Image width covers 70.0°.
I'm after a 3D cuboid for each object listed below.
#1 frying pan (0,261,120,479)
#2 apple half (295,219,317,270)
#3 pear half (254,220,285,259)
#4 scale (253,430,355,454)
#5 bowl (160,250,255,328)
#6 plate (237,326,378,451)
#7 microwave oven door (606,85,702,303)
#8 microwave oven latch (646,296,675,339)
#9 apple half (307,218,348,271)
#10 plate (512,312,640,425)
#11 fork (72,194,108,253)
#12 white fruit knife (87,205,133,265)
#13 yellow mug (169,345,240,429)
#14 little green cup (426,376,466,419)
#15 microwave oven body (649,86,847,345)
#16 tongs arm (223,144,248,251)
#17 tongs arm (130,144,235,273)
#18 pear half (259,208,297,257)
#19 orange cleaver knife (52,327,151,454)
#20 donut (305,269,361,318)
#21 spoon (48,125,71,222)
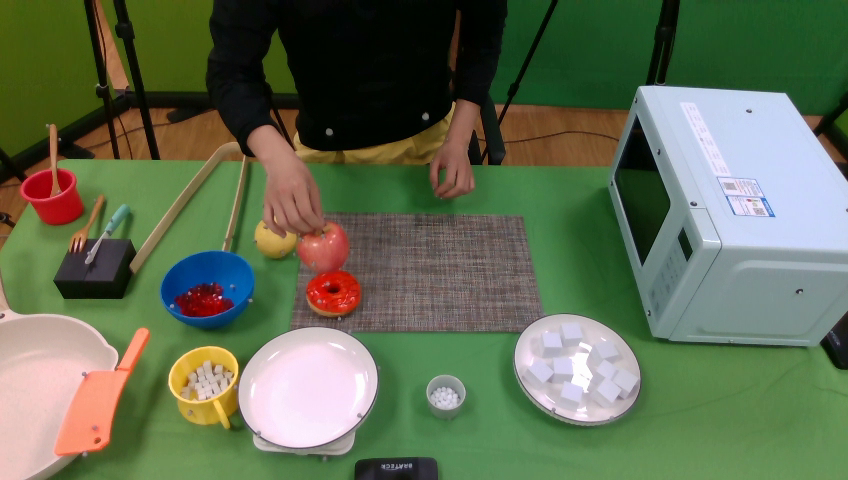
[{"bbox_3d":[-0.647,0.164,0.936,0.307,0.103,0.485,-19,58,-22],"label":"frying pan"},{"bbox_3d":[-0.186,0.009,0.966,0.033,0.082,0.081,4,46,6],"label":"apple half"},{"bbox_3d":[-0.294,0.003,1.127,0.070,0.088,0.031,25,49,16],"label":"pear half"},{"bbox_3d":[-0.175,0.236,0.951,0.149,0.032,0.199,4,45,0],"label":"scale"},{"bbox_3d":[-0.362,0.098,1.039,0.151,0.077,0.150,2,45,-2],"label":"bowl"},{"bbox_3d":[-0.174,0.224,0.917,0.209,0.038,0.208,2,46,-2],"label":"plate"},{"bbox_3d":[0.422,-0.094,1.140,0.039,0.245,0.353,2,46,-1],"label":"microwave oven door"},{"bbox_3d":[0.412,0.134,1.061,0.030,0.029,0.078,4,45,1],"label":"microwave oven latch"},{"bbox_3d":[-0.147,0.010,0.961,0.053,0.075,0.080,4,37,7],"label":"apple half"},{"bbox_3d":[0.246,0.213,0.999,0.208,0.039,0.206,2,46,-2],"label":"plate"},{"bbox_3d":[-0.634,-0.035,1.158,0.028,0.019,0.206,-7,32,-9],"label":"fork"},{"bbox_3d":[-0.584,-0.013,1.129,0.016,0.027,0.206,-1,31,-4],"label":"white fruit knife"},{"bbox_3d":[-0.322,0.230,0.922,0.100,0.064,0.130,-24,53,-25],"label":"yellow mug"},{"bbox_3d":[0.033,0.248,0.950,0.061,0.039,0.061,2,46,-2],"label":"little green cup"},{"bbox_3d":[0.567,-0.053,1.118,0.326,0.261,0.439,2,45,-1],"label":"microwave oven body"},{"bbox_3d":[-0.398,-0.073,1.232,0.051,0.026,0.382,-2,45,-1],"label":"tongs arm"},{"bbox_3d":[-0.484,-0.078,1.234,0.028,0.028,0.385,6,44,12],"label":"tongs arm"},{"bbox_3d":[-0.273,-0.024,1.141,0.076,0.110,0.056,27,50,16],"label":"pear half"},{"bbox_3d":[-0.462,0.212,0.879,0.077,0.012,0.210,7,45,-2],"label":"orange cleaver knife"},{"bbox_3d":[-0.160,0.094,1.075,0.099,0.048,0.098,4,45,-3],"label":"donut"},{"bbox_3d":[-0.719,-0.131,1.189,0.041,0.021,0.193,-3,90,-6],"label":"spoon"}]
